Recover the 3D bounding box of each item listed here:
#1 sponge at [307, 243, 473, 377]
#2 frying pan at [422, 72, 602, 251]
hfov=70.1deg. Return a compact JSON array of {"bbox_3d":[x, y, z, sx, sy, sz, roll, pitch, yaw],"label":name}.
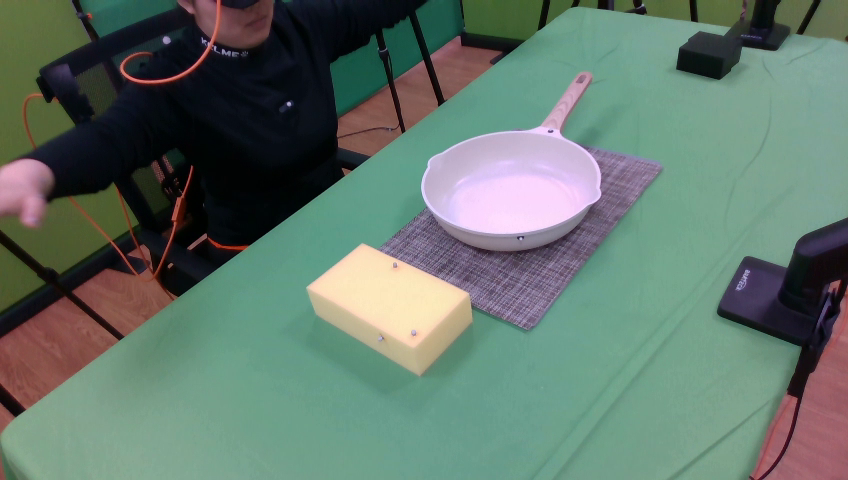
[{"bbox_3d":[-0.050,0.092,0.858,0.205,0.061,0.118,23,50,32],"label":"sponge"},{"bbox_3d":[0.199,-0.155,1.062,0.304,0.103,0.488,19,56,28],"label":"frying pan"}]
